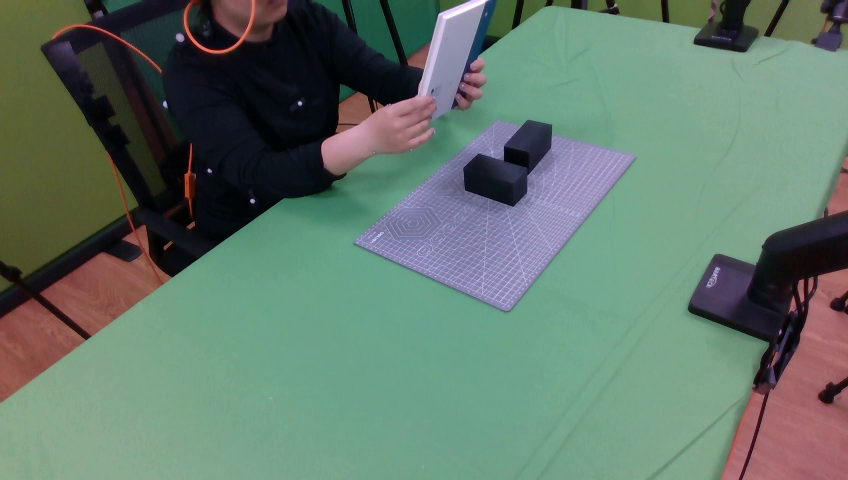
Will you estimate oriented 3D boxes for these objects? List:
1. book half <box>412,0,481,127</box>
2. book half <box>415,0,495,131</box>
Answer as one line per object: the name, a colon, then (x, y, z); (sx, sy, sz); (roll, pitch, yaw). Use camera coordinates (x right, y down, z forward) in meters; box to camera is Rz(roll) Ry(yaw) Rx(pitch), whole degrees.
book half: (0.043, -0.298, 1.018); (0.007, 0.210, 0.144); (37, 49, 17)
book half: (0.049, -0.296, 1.017); (0.016, 0.210, 0.149); (36, 49, 16)
